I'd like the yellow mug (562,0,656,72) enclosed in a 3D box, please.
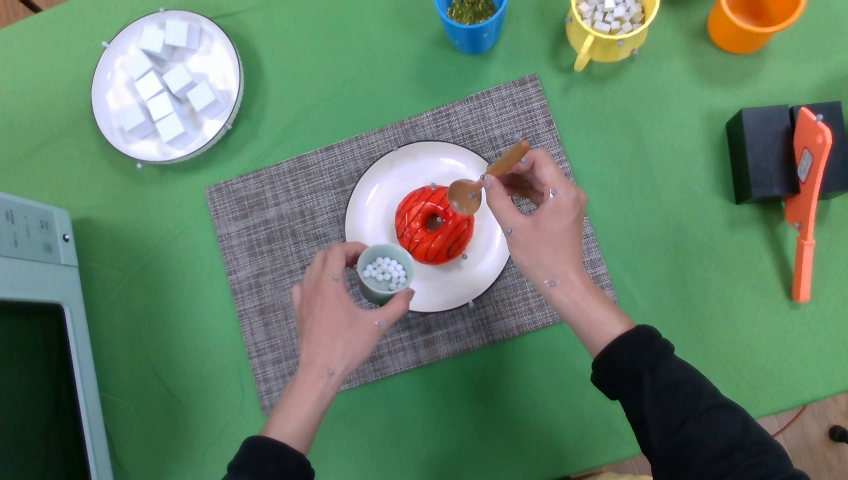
[{"bbox_3d":[0.210,-0.259,0.721,0.099,0.064,0.131,30,89,10],"label":"yellow mug"}]

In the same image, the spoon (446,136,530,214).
[{"bbox_3d":[0.058,-0.058,0.578,0.021,0.193,0.041,-37,91,-15],"label":"spoon"}]

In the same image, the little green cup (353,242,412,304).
[{"bbox_3d":[-0.045,0.037,0.640,0.062,0.039,0.061,5,56,-8],"label":"little green cup"}]

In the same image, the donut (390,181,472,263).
[{"bbox_3d":[0.009,-0.021,0.717,0.099,0.048,0.099,-1,84,9],"label":"donut"}]

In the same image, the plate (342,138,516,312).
[{"bbox_3d":[0.006,-0.017,0.728,0.209,0.038,0.208,-1,83,7],"label":"plate"}]

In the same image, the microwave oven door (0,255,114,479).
[{"bbox_3d":[-0.434,0.189,0.641,0.039,0.245,0.354,-15,81,5],"label":"microwave oven door"}]

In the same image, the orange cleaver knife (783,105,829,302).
[{"bbox_3d":[0.409,-0.037,0.660,0.012,0.077,0.212,-3,112,9],"label":"orange cleaver knife"}]

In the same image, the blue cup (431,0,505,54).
[{"bbox_3d":[0.056,-0.272,0.725,0.092,0.100,0.092,-1,84,7],"label":"blue cup"}]

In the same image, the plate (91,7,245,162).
[{"bbox_3d":[-0.331,-0.201,0.798,0.207,0.039,0.207,-1,83,7],"label":"plate"}]

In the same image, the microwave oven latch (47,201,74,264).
[{"bbox_3d":[-0.472,-0.008,0.773,0.030,0.029,0.079,-13,82,5],"label":"microwave oven latch"}]

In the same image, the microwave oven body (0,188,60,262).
[{"bbox_3d":[-0.584,0.186,0.666,0.326,0.261,0.440,-15,82,5],"label":"microwave oven body"}]
